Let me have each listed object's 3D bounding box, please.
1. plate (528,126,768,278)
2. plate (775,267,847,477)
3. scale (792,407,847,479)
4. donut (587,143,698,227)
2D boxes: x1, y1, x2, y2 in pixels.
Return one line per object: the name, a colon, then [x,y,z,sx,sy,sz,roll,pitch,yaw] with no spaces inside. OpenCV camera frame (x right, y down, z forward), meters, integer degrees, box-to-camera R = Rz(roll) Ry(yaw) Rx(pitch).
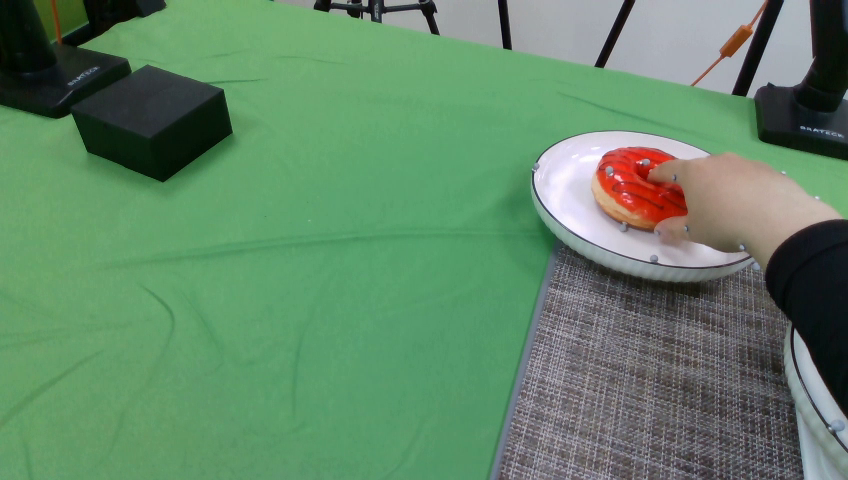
plate: [0.196,-0.036,0.552,0.209,0.038,0.207,2,41,-2]
plate: [0.321,0.102,0.372,0.208,0.039,0.205,3,44,-2]
scale: [0.313,0.141,0.379,0.148,0.032,0.199,15,45,12]
donut: [0.199,-0.050,0.553,0.099,0.048,0.098,5,44,-4]
